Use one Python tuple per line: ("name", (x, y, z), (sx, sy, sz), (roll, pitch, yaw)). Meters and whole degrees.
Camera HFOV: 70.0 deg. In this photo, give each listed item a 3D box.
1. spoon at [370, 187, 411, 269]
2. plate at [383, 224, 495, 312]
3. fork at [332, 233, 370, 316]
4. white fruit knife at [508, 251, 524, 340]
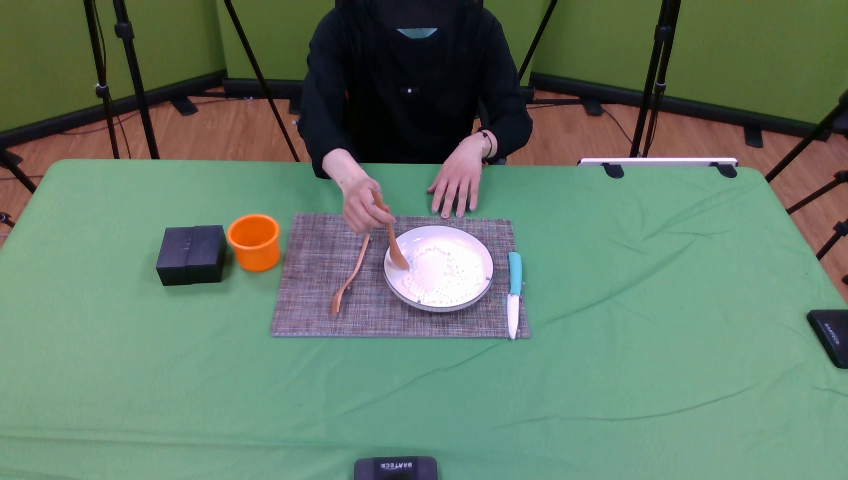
("spoon", (-0.062, -0.018, 1.078), (0.041, 0.195, 0.021), (18, 49, 39))
("plate", (0.026, 0.055, 1.128), (0.209, 0.038, 0.208), (2, 46, -2))
("fork", (-0.133, 0.058, 1.127), (0.019, 0.028, 0.206), (35, 44, -12))
("white fruit knife", (0.169, 0.098, 1.113), (0.027, 0.016, 0.206), (-13, 43, 23))
